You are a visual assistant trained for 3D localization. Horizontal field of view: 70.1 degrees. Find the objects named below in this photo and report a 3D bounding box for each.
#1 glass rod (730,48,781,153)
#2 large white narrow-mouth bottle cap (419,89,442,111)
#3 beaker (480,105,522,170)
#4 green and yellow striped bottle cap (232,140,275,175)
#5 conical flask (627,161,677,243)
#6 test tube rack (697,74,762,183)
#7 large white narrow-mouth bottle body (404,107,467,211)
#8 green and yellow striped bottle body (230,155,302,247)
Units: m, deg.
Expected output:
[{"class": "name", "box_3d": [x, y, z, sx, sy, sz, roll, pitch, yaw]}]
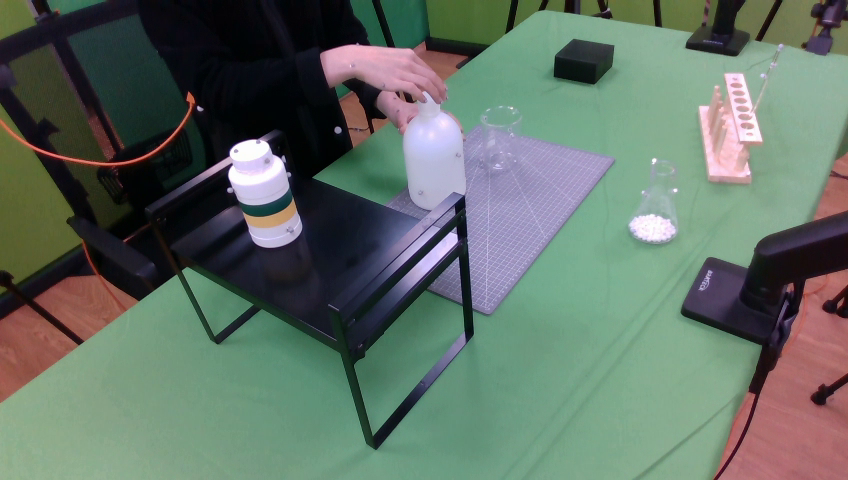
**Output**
[{"class": "glass rod", "box_3d": [0.554, -0.228, 1.015, 0.008, 0.200, 0.008, 1, 44, -1]}, {"class": "large white narrow-mouth bottle cap", "box_3d": [0.009, -0.223, 0.960, 0.038, 0.024, 0.037, -4, 39, 3]}, {"class": "beaker", "box_3d": [0.145, -0.187, 1.111, 0.084, 0.101, 0.073, -35, 48, -29]}, {"class": "green and yellow striped bottle cap", "box_3d": [-0.192, -0.093, 0.680, 0.045, 0.020, 0.045, -5, 39, 5]}, {"class": "conical flask", "box_3d": [0.355, -0.061, 0.921, 0.075, 0.122, 0.075, -4, 41, 4]}, {"class": "test tube rack", "box_3d": [0.547, -0.208, 1.095, 0.066, 0.085, 0.242, 5, 42, 15]}, {"class": "large white narrow-mouth bottle body", "box_3d": [0.017, -0.152, 1.016, 0.102, 0.195, 0.101, -4, 39, 4]}, {"class": "green and yellow striped bottle body", "box_3d": [-0.188, -0.055, 0.714, 0.063, 0.120, 0.063, -4, 41, 4]}]
